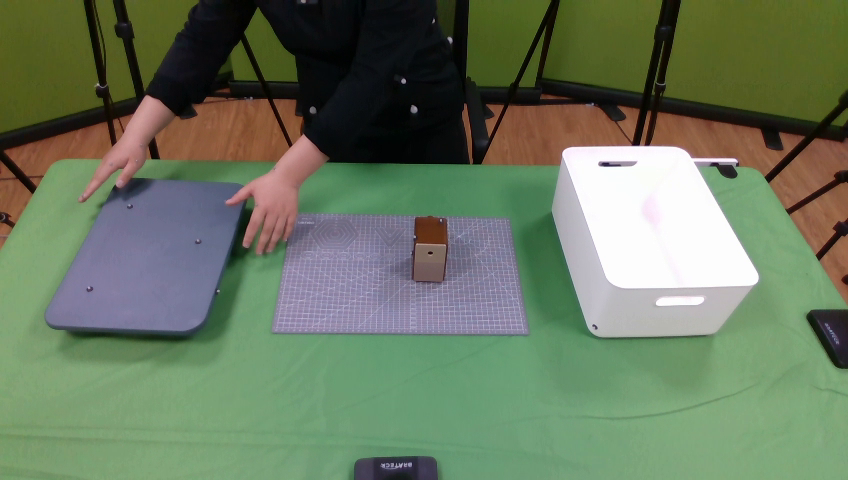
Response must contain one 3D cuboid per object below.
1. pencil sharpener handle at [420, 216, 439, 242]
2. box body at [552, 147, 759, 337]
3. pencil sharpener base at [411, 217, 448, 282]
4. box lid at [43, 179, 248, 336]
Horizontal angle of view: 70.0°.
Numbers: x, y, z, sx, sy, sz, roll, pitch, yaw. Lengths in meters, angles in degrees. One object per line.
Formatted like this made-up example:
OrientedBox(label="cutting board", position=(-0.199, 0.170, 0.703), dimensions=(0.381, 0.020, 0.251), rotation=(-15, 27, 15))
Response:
OrientedBox(label="pencil sharpener handle", position=(0.008, -0.027, 1.145), dimensions=(0.036, 0.068, 0.030), rotation=(5, 45, -6))
OrientedBox(label="box body", position=(0.400, -0.001, 1.131), dimensions=(0.254, 0.161, 0.361), rotation=(-1, 46, -5))
OrientedBox(label="pencil sharpener base", position=(0.009, 0.017, 1.118), dimensions=(0.061, 0.107, 0.076), rotation=(1, 45, -2))
OrientedBox(label="box lid", position=(-0.484, 0.017, 1.093), dimensions=(0.263, 0.015, 0.369), rotation=(2, 46, -2))
